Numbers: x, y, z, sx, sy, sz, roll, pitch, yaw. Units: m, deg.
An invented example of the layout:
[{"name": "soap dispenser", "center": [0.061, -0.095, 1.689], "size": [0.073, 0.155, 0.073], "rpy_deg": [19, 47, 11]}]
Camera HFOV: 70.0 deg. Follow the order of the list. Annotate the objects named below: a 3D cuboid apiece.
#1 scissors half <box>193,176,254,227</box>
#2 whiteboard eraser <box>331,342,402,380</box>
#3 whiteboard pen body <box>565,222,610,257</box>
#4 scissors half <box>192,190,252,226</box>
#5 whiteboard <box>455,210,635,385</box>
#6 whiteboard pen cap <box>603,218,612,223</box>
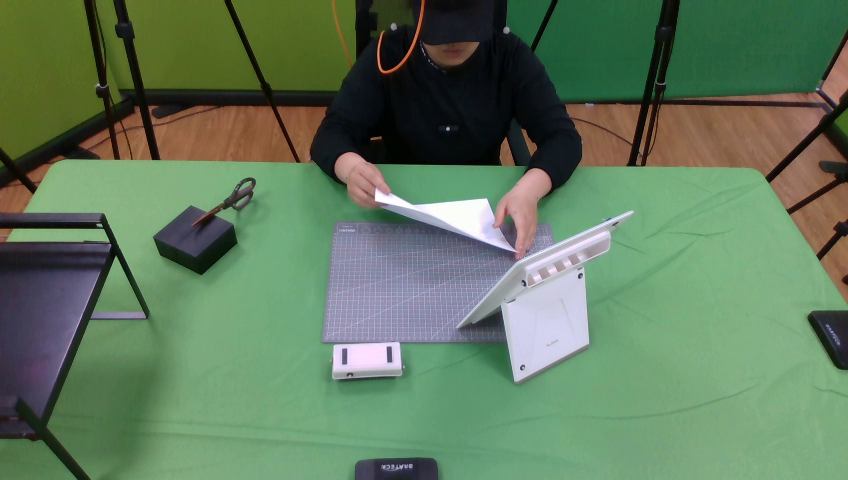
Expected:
[{"name": "scissors half", "center": [-0.387, -0.074, 1.174], "size": [0.013, 0.040, 0.174], "rpy_deg": [30, 48, 7]}, {"name": "whiteboard eraser", "center": [-0.094, 0.198, 0.986], "size": [0.113, 0.042, 0.055], "rpy_deg": [-2, 44, -6]}, {"name": "whiteboard pen body", "center": [0.335, -0.004, 1.228], "size": [0.141, 0.017, 0.017], "rpy_deg": [-32, 56, -29]}, {"name": "scissors half", "center": [-0.393, -0.060, 1.187], "size": [0.013, 0.040, 0.175], "rpy_deg": [26, 29, 11]}, {"name": "whiteboard", "center": [0.211, 0.111, 0.955], "size": [0.217, 0.306, 0.143], "rpy_deg": [-21, 71, -23]}, {"name": "whiteboard pen cap", "center": [0.379, -0.031, 1.255], "size": [0.033, 0.018, 0.018], "rpy_deg": [-33, 56, -28]}]
